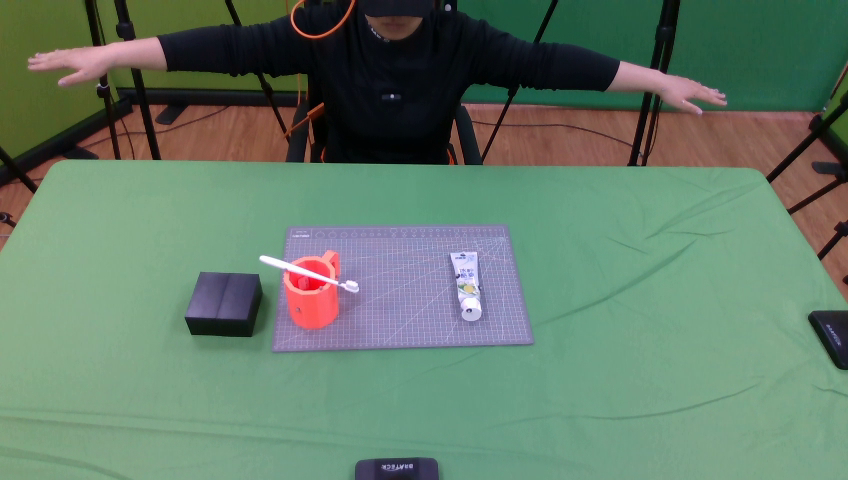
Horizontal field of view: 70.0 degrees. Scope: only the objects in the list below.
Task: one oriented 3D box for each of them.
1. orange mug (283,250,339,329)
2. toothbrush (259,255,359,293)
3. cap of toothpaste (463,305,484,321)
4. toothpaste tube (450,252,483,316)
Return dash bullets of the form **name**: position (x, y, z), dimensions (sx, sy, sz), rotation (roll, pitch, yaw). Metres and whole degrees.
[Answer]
- **orange mug**: position (-0.186, 0.078, 1.052), dimensions (0.083, 0.101, 0.126), rotation (20, 52, 15)
- **toothbrush**: position (-0.192, 0.054, 1.002), dimensions (0.181, 0.017, 0.014), rotation (17, 53, 12)
- **cap of toothpaste**: position (0.087, 0.127, 1.063), dimensions (0.037, 0.037, 0.011), rotation (2, 39, -2)
- **toothpaste tube**: position (0.084, 0.077, 1.122), dimensions (0.055, 0.035, 0.164), rotation (3, 41, -8)
